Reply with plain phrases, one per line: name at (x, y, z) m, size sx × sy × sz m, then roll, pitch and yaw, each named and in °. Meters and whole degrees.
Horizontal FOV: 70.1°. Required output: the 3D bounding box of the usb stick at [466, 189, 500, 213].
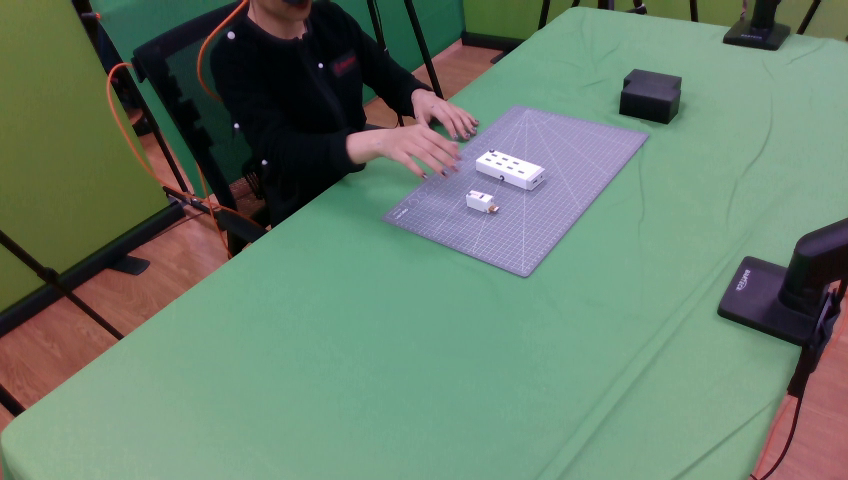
usb stick at (0.102, -0.064, 1.031) m, size 0.059 × 0.027 × 0.021 m, roll 25°, pitch 51°, yaw 30°

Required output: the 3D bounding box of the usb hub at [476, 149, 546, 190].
usb hub at (0.157, -0.129, 1.098) m, size 0.124 × 0.025 × 0.049 m, roll 28°, pitch 52°, yaw 35°
